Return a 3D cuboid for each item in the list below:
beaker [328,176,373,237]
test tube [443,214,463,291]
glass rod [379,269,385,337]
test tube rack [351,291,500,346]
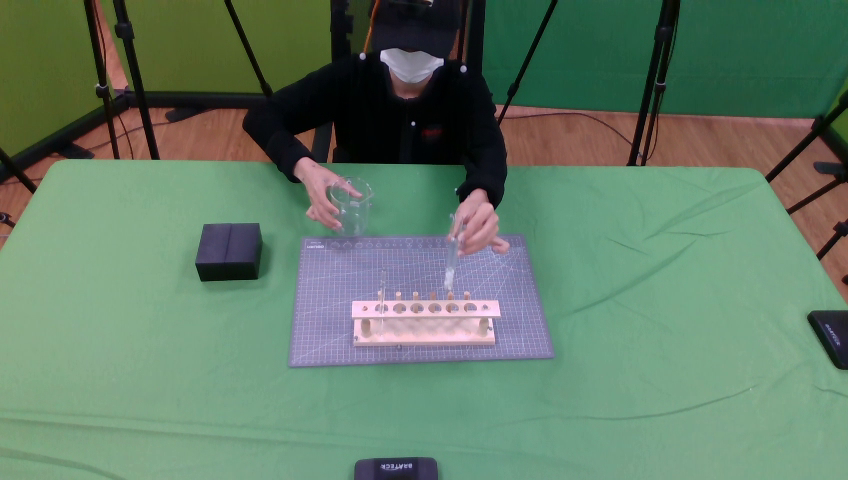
[{"bbox_3d":[-0.140,-0.060,1.152,0.084,0.101,0.073,3,51,-6],"label":"beaker"},{"bbox_3d":[0.044,0.023,0.932,0.017,0.151,0.017,4,40,-3],"label":"test tube"},{"bbox_3d":[-0.067,0.104,0.953,0.008,0.200,0.008,3,53,-3],"label":"glass rod"},{"bbox_3d":[0.001,0.129,1.026,0.242,0.085,0.066,0,46,-4],"label":"test tube rack"}]
